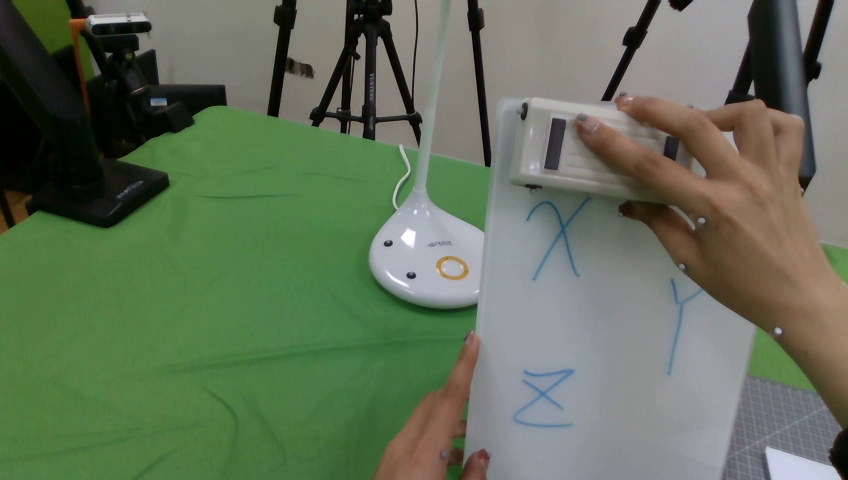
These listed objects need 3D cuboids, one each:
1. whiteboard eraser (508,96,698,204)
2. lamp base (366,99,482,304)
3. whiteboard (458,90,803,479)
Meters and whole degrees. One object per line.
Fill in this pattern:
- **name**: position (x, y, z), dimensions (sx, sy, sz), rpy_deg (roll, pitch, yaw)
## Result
- **whiteboard eraser**: position (0.113, -0.057, 0.388), dimensions (0.113, 0.056, 0.041), rpy_deg (7, 10, -7)
- **lamp base**: position (0.014, -0.050, 0.665), dimensions (0.161, 0.181, 0.177), rpy_deg (-15, 39, -28)
- **whiteboard**: position (0.140, 0.035, 0.510), dimensions (0.217, 0.306, 0.143), rpy_deg (3, 16, -5)
